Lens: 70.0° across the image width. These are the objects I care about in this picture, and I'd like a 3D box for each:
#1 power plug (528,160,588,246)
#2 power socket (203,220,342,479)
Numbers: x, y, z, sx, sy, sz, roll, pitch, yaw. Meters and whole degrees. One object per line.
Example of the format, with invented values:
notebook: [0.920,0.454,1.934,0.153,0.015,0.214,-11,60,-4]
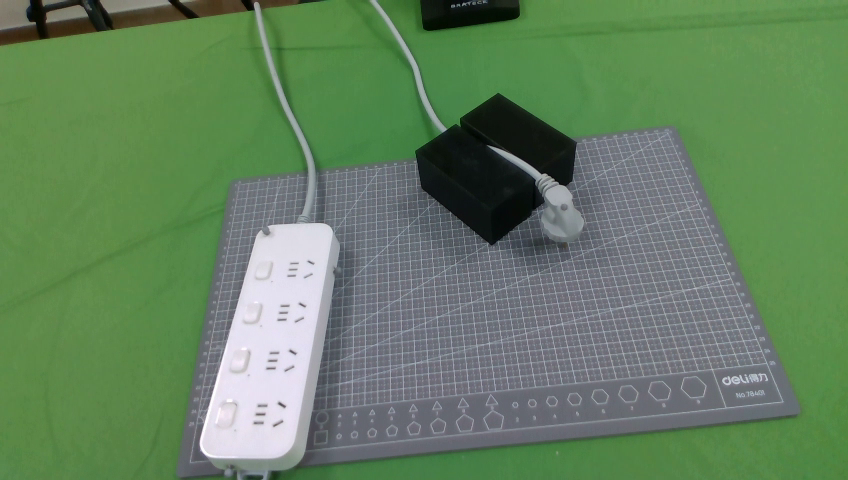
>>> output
power plug: [0.115,-0.031,0.519,0.035,0.053,0.072,-11,55,-5]
power socket: [-0.116,0.074,0.489,0.072,0.033,0.224,0,53,6]
